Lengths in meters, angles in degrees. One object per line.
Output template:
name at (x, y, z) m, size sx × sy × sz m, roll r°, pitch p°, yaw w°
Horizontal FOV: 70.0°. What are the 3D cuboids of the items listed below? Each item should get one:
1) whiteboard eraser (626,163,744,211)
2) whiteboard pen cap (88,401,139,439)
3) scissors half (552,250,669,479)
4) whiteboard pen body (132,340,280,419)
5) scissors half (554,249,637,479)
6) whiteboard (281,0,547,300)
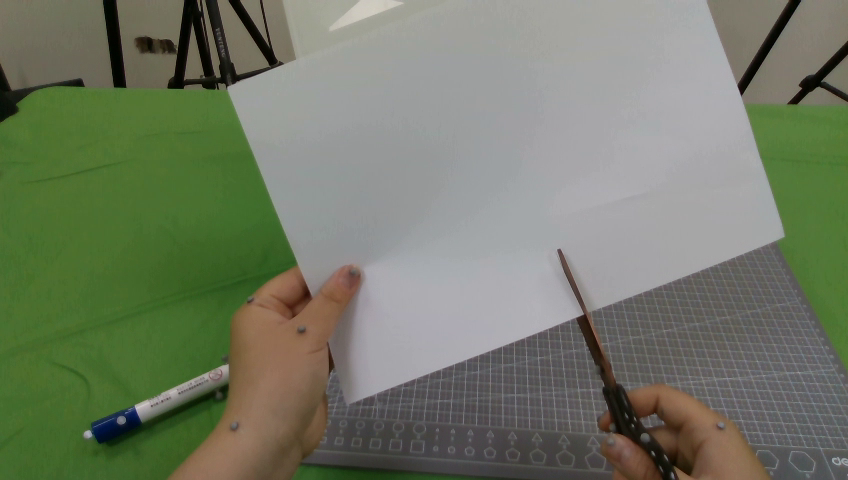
whiteboard eraser at (0.286, -0.059, 0.669) m, size 0.113 × 0.042 × 0.055 m, roll 1°, pitch 41°, yaw 1°
whiteboard pen cap at (-0.230, 0.133, 0.452) m, size 0.033 × 0.018 × 0.018 m, roll -24°, pitch 44°, yaw -27°
scissors half at (0.107, 0.081, 0.349) m, size 0.013 × 0.040 × 0.173 m, roll -20°, pitch 63°, yaw 2°
whiteboard pen body at (-0.182, 0.113, 0.478) m, size 0.141 × 0.017 × 0.017 m, roll -23°, pitch 44°, yaw -27°
scissors half at (0.110, 0.088, 0.369) m, size 0.013 × 0.040 × 0.174 m, roll -18°, pitch 82°, yaw -3°
whiteboard at (-0.019, -0.132, 0.604) m, size 0.218 × 0.307 × 0.142 m, roll -16°, pitch 21°, yaw -17°
